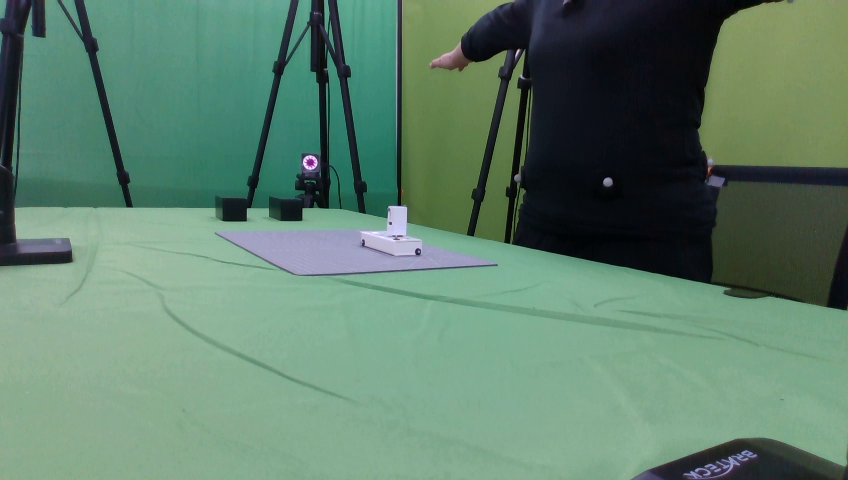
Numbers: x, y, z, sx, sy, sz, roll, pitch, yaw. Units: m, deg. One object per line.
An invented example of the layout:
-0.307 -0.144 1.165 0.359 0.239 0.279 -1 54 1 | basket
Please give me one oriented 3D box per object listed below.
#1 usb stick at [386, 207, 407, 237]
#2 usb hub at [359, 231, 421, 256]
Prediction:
-0.043 -0.022 0.938 0.027 0.059 0.021 -5 10 -34 | usb stick
-0.056 0.004 0.954 0.050 0.025 0.124 -2 8 -31 | usb hub
